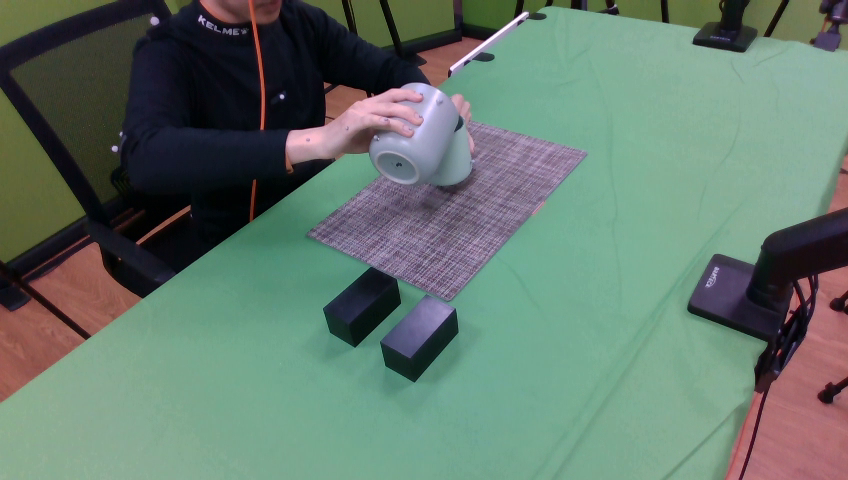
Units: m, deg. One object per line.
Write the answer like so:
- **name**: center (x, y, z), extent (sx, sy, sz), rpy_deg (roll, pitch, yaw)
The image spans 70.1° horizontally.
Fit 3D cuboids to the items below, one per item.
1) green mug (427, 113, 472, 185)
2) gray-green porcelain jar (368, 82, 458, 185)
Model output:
- **green mug**: center (0.035, -0.167, 1.045), extent (0.092, 0.105, 0.124), rpy_deg (-4, 43, 6)
- **gray-green porcelain jar**: center (-0.018, -0.154, 0.904), extent (0.105, 0.106, 0.126), rpy_deg (11, 59, 21)
